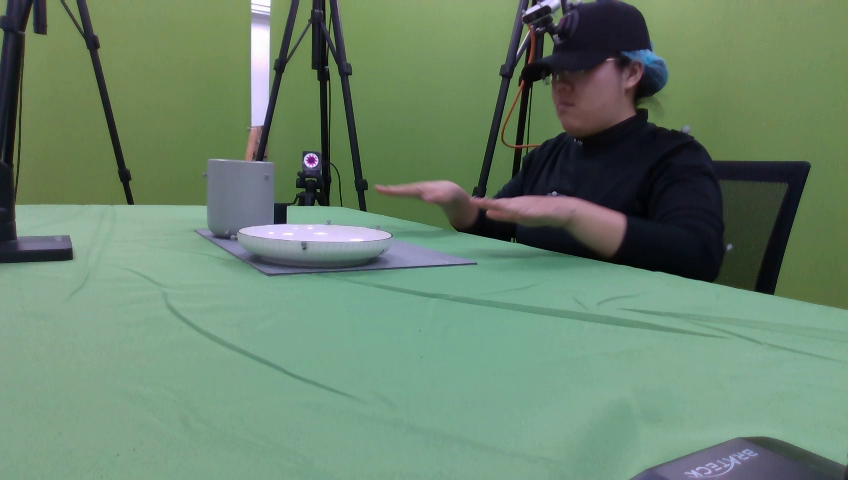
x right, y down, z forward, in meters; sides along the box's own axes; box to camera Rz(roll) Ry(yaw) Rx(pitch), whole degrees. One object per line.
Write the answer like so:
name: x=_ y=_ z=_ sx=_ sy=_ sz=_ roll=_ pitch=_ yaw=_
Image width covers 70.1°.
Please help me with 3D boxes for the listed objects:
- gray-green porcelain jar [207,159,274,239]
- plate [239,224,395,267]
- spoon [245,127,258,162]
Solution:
gray-green porcelain jar: x=-0.304 y=-0.068 z=1.004 sx=0.106 sy=0.126 sz=0.106 roll=3 pitch=7 yaw=0
plate: x=-0.144 y=0.007 z=0.823 sx=0.208 sy=0.039 sz=0.207 roll=3 pitch=7 yaw=0
spoon: x=-0.299 y=-0.115 z=1.032 sx=0.041 sy=0.193 sz=0.022 roll=-6 pitch=-24 yaw=11
